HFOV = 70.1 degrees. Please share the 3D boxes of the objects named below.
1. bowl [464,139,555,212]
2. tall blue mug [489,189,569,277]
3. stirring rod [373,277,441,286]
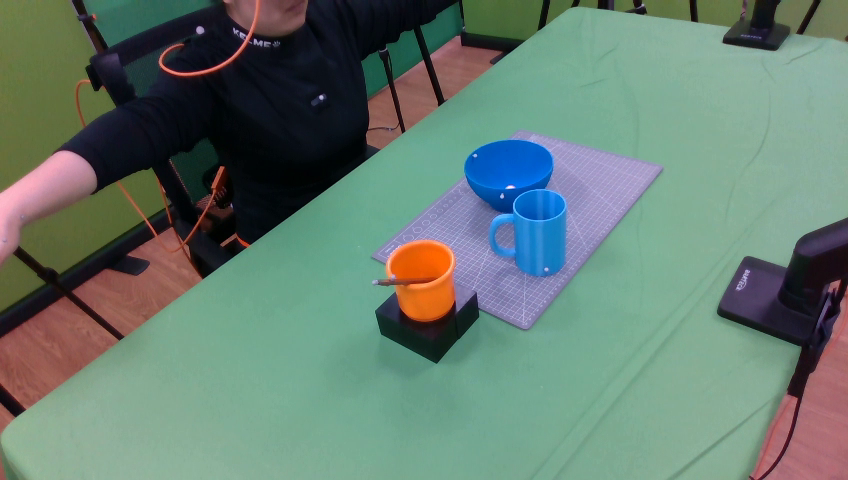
[{"bbox_3d":[0.145,-0.100,1.025,0.151,0.077,0.150,-5,40,5],"label":"bowl"},{"bbox_3d":[0.158,-0.005,0.886,0.107,0.108,0.077,-23,43,-16],"label":"tall blue mug"},{"bbox_3d":[-0.018,0.051,0.757,0.014,0.006,0.177,10,2,24],"label":"stirring rod"}]
